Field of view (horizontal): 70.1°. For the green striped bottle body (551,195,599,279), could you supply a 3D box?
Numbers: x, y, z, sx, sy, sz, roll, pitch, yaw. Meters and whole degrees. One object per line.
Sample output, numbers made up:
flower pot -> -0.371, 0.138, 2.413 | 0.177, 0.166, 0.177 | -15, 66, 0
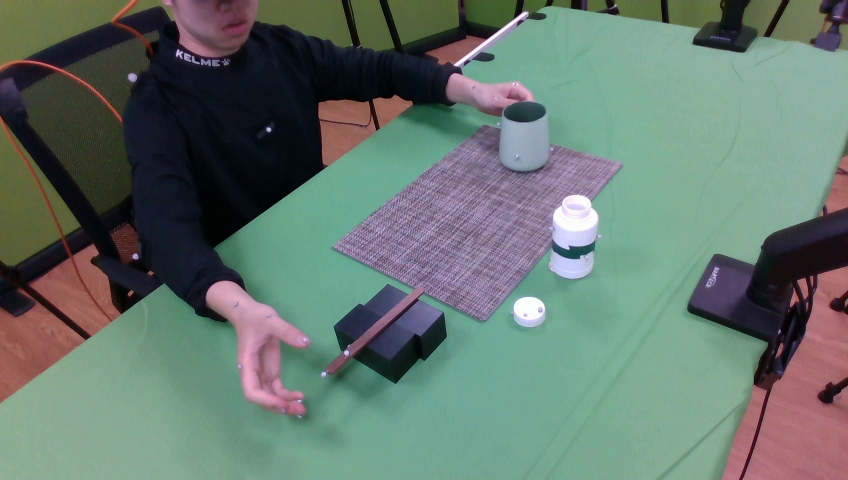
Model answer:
green striped bottle body -> 0.217, -0.006, 0.870 | 0.063, 0.120, 0.063 | -4, 41, 4

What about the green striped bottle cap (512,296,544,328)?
green striped bottle cap -> 0.144, 0.099, 0.837 | 0.044, 0.020, 0.044 | -1, 43, 2

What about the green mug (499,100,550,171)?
green mug -> 0.183, -0.197, 1.101 | 0.092, 0.105, 0.125 | -1, 41, 8

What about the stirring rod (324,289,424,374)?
stirring rod -> -0.061, 0.115, 0.781 | 0.014, 0.006, 0.177 | 22, 46, 37
